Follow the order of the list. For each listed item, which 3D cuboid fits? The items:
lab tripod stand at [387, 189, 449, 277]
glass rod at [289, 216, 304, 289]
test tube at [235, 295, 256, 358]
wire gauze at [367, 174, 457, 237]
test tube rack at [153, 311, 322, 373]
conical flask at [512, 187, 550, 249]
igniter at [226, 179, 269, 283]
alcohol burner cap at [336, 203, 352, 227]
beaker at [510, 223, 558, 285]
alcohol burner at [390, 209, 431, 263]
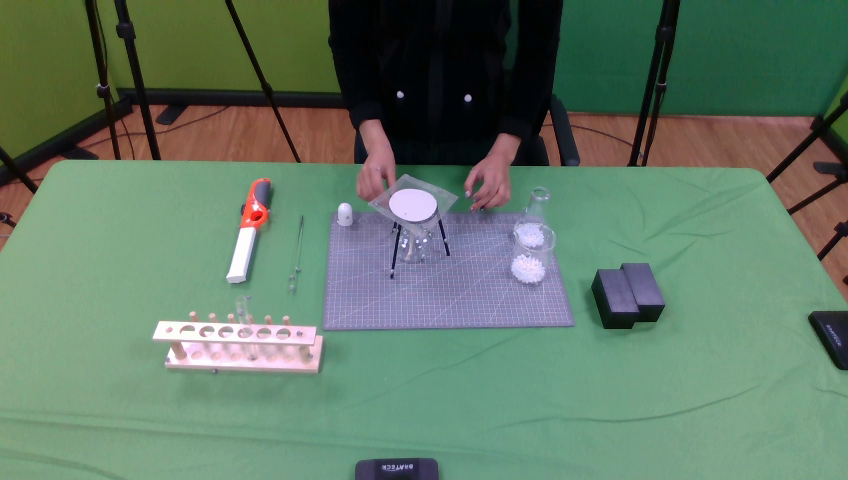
[{"bbox_3d":[-0.021,-0.018,1.135,0.148,0.132,0.147,3,44,-3],"label":"lab tripod stand"},{"bbox_3d":[-0.247,0.020,1.171,0.008,0.008,0.198,0,43,-3],"label":"glass rod"},{"bbox_3d":[-0.274,0.136,0.933,0.017,0.151,0.017,4,45,-4],"label":"test tube"},{"bbox_3d":[-0.021,-0.068,1.088,0.124,0.011,0.121,28,49,20],"label":"wire gauze"},{"bbox_3d":[-0.293,0.160,0.978,0.242,0.085,0.066,3,46,-2],"label":"test tube rack"},{"bbox_3d":[0.217,-0.048,1.190,0.075,0.122,0.075,2,46,-2],"label":"conical flask"},{"bbox_3d":[-0.345,-0.027,1.195,0.057,0.025,0.274,-6,46,5],"label":"igniter"},{"bbox_3d":[-0.162,-0.053,1.221,0.034,0.048,0.033,2,47,-2],"label":"alcohol burner cap"},{"bbox_3d":[0.199,0.028,1.132,0.083,0.101,0.074,26,49,21],"label":"beaker"},{"bbox_3d":[-0.024,-0.014,1.144,0.078,0.119,0.077,4,44,-3],"label":"alcohol burner"}]
